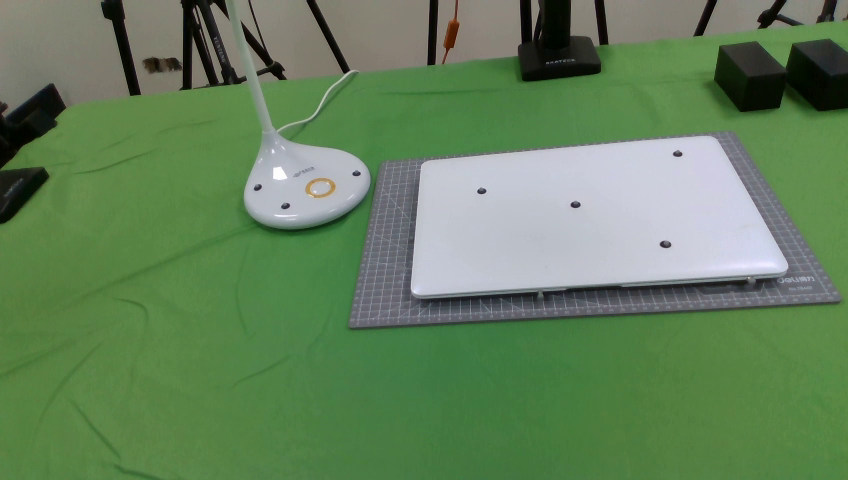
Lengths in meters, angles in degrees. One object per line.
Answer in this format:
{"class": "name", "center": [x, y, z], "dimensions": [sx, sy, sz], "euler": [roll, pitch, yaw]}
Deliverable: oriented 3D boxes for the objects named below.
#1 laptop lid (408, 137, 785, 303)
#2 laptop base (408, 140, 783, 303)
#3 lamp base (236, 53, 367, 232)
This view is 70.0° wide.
{"class": "laptop lid", "center": [0.161, -0.031, 0.652], "dimensions": [0.356, 0.013, 0.239], "euler": [-4, 42, 8]}
{"class": "laptop base", "center": [0.163, -0.024, 0.661], "dimensions": [0.354, 0.023, 0.233], "euler": [-5, 43, 6]}
{"class": "lamp base", "center": [-0.171, -0.126, 0.725], "dimensions": [0.177, 0.182, 0.160], "euler": [24, 49, 37]}
